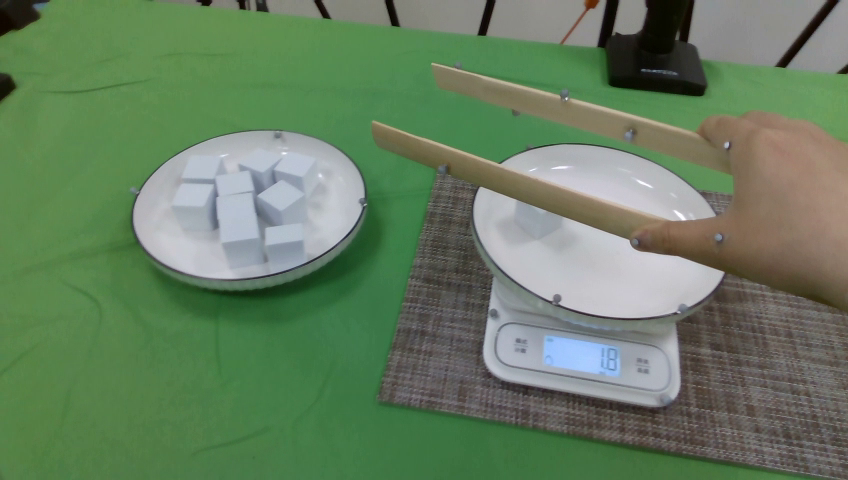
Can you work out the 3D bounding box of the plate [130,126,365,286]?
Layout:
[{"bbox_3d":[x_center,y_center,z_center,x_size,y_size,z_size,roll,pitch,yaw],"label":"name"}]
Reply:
[{"bbox_3d":[-0.158,-0.032,0.567,0.209,0.038,0.207,2,46,-1],"label":"plate"}]

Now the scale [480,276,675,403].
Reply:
[{"bbox_3d":[0.132,0.036,0.514,0.148,0.032,0.199,9,47,6],"label":"scale"}]

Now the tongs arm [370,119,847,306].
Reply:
[{"bbox_3d":[0.122,-0.020,0.365,0.384,0.028,0.028,21,56,27],"label":"tongs arm"}]

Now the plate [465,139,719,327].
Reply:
[{"bbox_3d":[0.137,-0.008,0.510,0.208,0.039,0.205,2,46,-2],"label":"plate"}]

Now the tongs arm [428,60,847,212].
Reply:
[{"bbox_3d":[0.148,-0.052,0.383,0.382,0.027,0.050,23,60,28],"label":"tongs arm"}]
